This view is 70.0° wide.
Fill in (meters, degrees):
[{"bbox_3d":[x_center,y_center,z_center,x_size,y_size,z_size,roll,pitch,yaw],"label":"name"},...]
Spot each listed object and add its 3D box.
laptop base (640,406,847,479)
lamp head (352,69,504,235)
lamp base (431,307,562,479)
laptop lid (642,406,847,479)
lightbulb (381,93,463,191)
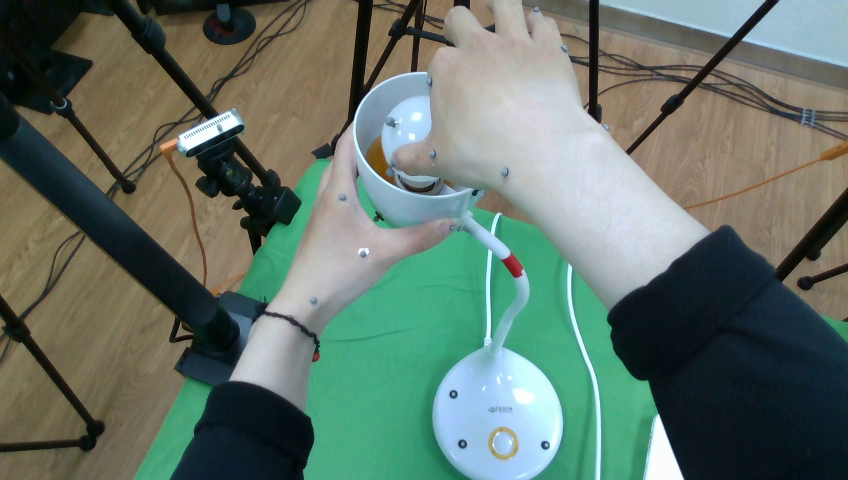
[{"bbox_3d":[0.413,0.353,0.683,0.353,0.023,0.234,17,66,8],"label":"laptop base"},{"bbox_3d":[0.001,-0.054,0.486,0.112,0.124,0.111,1,61,-2],"label":"lamp head"},{"bbox_3d":[0.087,0.163,0.683,0.161,0.181,0.177,-10,60,-6],"label":"lamp base"},{"bbox_3d":[0.412,0.349,0.671,0.356,0.013,0.240,18,65,8],"label":"laptop lid"},{"bbox_3d":[-0.003,-0.066,0.457,0.059,0.108,0.059,2,69,-4],"label":"lightbulb"}]
